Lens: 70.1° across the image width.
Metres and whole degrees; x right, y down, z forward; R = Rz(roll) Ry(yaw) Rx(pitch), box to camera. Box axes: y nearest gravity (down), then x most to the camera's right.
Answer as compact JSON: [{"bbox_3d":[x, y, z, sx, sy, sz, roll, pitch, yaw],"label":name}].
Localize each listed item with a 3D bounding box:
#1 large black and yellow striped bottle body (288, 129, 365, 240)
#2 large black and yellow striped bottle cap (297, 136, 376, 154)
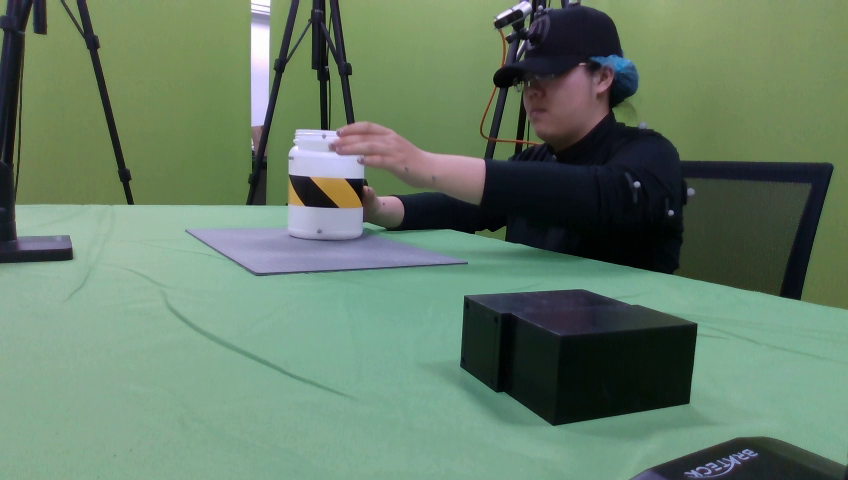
[{"bbox_3d":[-0.169,-0.098,1.053,0.131,0.184,0.130,3,7,0],"label":"large black and yellow striped bottle body"},{"bbox_3d":[-0.127,-0.139,0.887,0.115,0.019,0.115,4,6,0],"label":"large black and yellow striped bottle cap"}]
